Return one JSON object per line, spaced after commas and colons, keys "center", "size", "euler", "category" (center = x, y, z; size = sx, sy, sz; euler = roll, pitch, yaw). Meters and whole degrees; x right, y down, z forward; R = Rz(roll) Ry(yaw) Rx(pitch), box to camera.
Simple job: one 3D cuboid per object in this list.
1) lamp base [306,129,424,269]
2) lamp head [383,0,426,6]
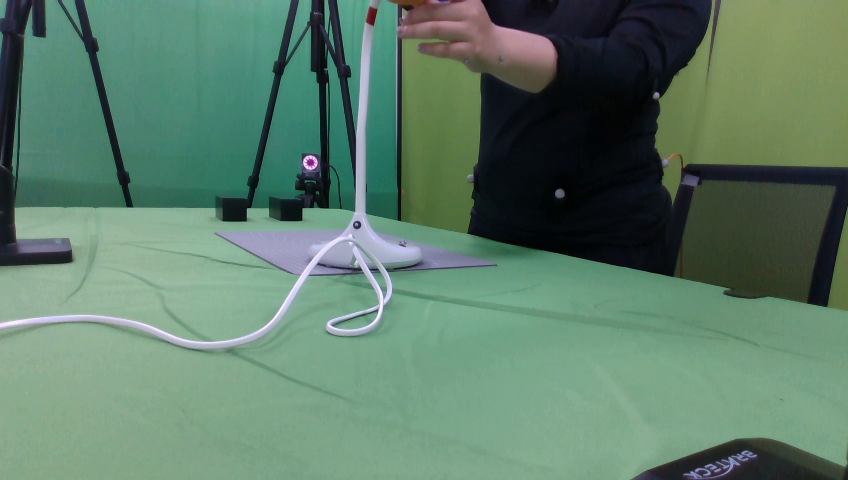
{"center": [-0.077, -0.057, 0.810], "size": [0.161, 0.180, 0.179], "euler": [2, 10, -4], "category": "lamp base"}
{"center": [-0.024, -0.325, 0.671], "size": [0.112, 0.123, 0.112], "euler": [4, 3, 0], "category": "lamp head"}
